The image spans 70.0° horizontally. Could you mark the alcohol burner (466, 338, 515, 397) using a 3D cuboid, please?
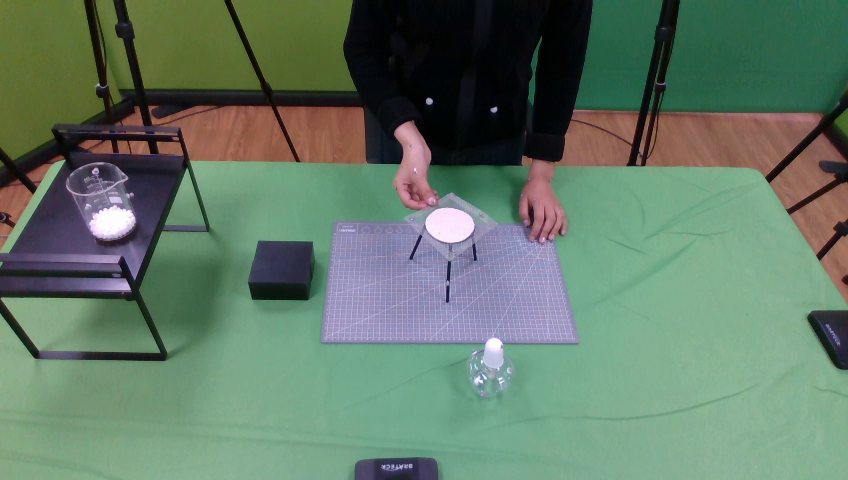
[{"bbox_3d":[0.106,0.195,0.952,0.078,0.120,0.077,1,46,0],"label":"alcohol burner"}]

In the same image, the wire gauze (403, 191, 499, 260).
[{"bbox_3d":[0.047,-0.032,1.053,0.121,0.011,0.124,-31,55,-29],"label":"wire gauze"}]

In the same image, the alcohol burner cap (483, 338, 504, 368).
[{"bbox_3d":[0.108,0.170,0.928,0.034,0.048,0.033,-1,41,1],"label":"alcohol burner cap"}]

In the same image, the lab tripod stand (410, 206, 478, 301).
[{"bbox_3d":[0.040,0.015,1.101,0.148,0.132,0.147,0,47,0],"label":"lab tripod stand"}]

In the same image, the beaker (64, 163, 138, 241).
[{"bbox_3d":[-0.478,-0.055,0.910,0.084,0.101,0.073,-9,48,-13],"label":"beaker"}]
